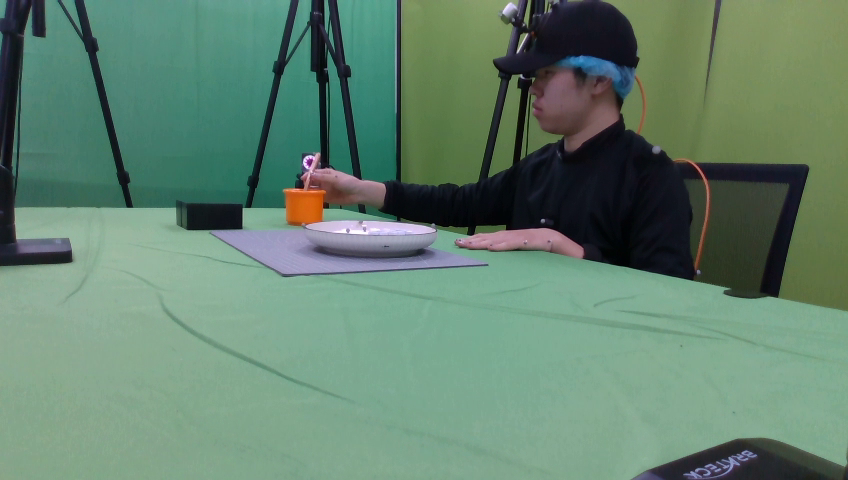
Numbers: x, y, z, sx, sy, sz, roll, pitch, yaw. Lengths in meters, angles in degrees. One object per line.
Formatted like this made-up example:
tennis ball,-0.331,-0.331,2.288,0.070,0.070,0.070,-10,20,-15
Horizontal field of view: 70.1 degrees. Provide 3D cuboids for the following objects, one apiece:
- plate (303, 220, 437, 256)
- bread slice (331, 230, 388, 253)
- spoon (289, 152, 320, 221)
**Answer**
plate,-0.084,-0.003,0.951,0.209,0.038,0.209,3,7,0
bread slice,-0.088,0.000,0.947,0.105,0.019,0.131,-4,11,-44
spoon,-0.257,-0.120,1.327,0.041,0.193,0.022,-2,-30,22
